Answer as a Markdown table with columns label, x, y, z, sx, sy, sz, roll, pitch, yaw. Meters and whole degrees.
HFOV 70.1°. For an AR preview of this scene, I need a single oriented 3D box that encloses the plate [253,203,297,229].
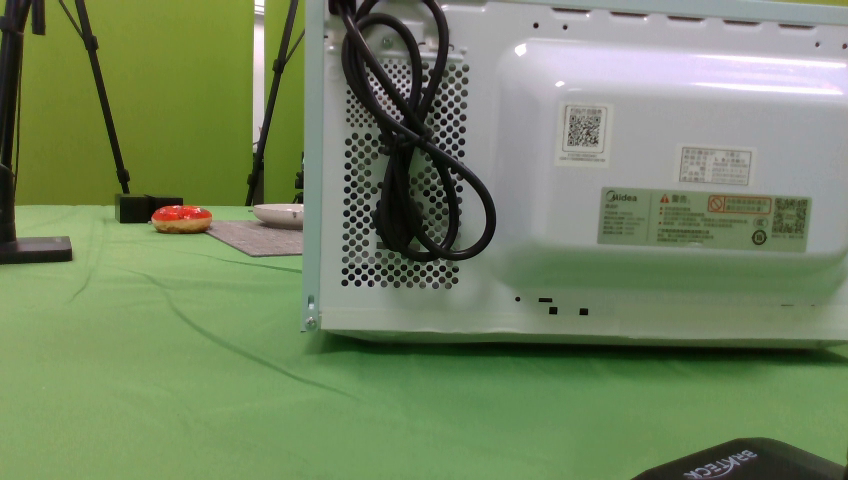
| label | x | y | z | sx | sy | sz | roll | pitch | yaw |
| --- | --- | --- | --- | --- | --- | --- | --- | --- | --- |
| plate | -0.238 | -0.048 | 1.226 | 0.208 | 0.039 | 0.207 | 3 | 7 | 0 |

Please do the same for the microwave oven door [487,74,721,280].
| label | x | y | z | sx | sy | sz | roll | pitch | yaw |
| --- | --- | --- | --- | --- | --- | --- | --- | --- | --- |
| microwave oven door | 0.225 | -0.093 | 0.844 | 0.039 | 0.243 | 0.354 | -3 | 9 | -36 |

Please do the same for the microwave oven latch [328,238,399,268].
| label | x | y | z | sx | sy | sz | roll | pitch | yaw |
| --- | --- | --- | --- | --- | --- | --- | --- | --- | --- |
| microwave oven latch | -0.069 | 0.015 | 0.694 | 0.079 | 0.029 | 0.030 | 3 | 7 | -3 |

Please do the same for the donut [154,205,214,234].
| label | x | y | z | sx | sy | sz | roll | pitch | yaw |
| --- | --- | --- | --- | --- | --- | --- | --- | --- | --- |
| donut | -0.426 | -0.037 | 1.075 | 0.099 | 0.048 | 0.099 | 2 | 12 | 0 |

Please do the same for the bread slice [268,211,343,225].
| label | x | y | z | sx | sy | sz | roll | pitch | yaw |
| --- | --- | --- | --- | --- | --- | --- | --- | --- | --- |
| bread slice | -0.244 | -0.046 | 1.220 | 0.104 | 0.019 | 0.132 | 7 | 8 | 36 |

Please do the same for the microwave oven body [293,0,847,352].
| label | x | y | z | sx | sy | sz | roll | pitch | yaw |
| --- | --- | --- | --- | --- | --- | --- | --- | --- | --- |
| microwave oven body | 0.122 | -0.055 | 0.550 | 0.442 | 0.260 | 0.325 | 3 | 7 | -5 |
